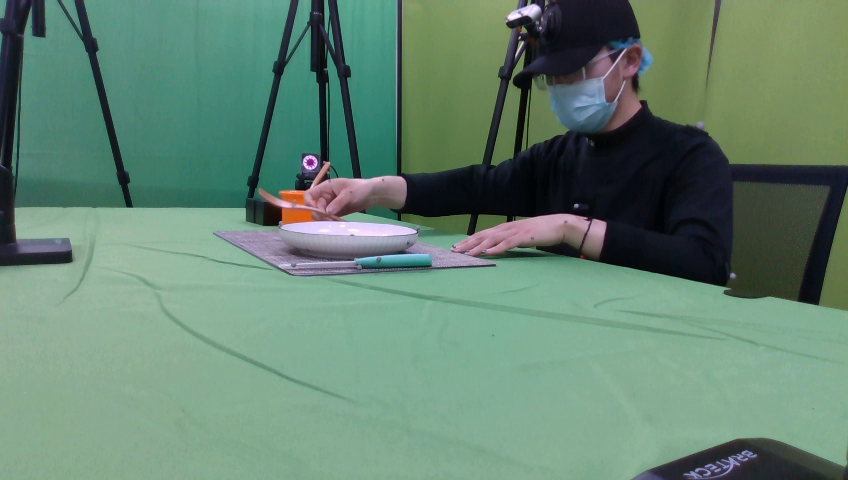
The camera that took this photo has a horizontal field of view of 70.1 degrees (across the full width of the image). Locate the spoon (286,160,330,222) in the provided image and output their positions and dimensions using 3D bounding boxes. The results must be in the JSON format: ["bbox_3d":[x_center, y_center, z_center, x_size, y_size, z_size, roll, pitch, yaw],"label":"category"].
[{"bbox_3d":[-0.233,-0.101,1.252,0.041,0.193,0.022,2,-38,24],"label":"spoon"}]

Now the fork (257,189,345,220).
[{"bbox_3d":[-0.190,-0.047,1.054,0.208,0.018,0.028,17,23,-23],"label":"fork"}]

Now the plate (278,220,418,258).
[{"bbox_3d":[-0.114,-0.002,0.914,0.209,0.038,0.209,2,7,0],"label":"plate"}]

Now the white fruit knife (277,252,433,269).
[{"bbox_3d":[-0.082,0.029,0.772,0.208,0.016,0.027,-3,-20,-22],"label":"white fruit knife"}]
